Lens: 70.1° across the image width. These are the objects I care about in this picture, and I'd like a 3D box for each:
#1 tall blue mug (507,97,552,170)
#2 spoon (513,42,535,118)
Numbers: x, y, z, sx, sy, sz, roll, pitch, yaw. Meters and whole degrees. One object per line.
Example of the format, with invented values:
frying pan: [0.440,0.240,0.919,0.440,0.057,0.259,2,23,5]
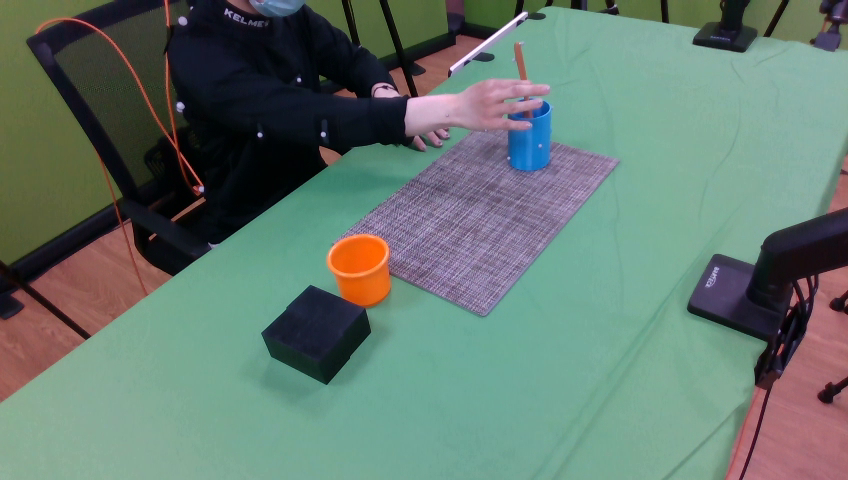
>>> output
tall blue mug: [0.179,-0.198,1.101,0.078,0.108,0.106,-36,49,-28]
spoon: [0.175,-0.252,1.046,0.041,0.195,0.022,16,47,37]
